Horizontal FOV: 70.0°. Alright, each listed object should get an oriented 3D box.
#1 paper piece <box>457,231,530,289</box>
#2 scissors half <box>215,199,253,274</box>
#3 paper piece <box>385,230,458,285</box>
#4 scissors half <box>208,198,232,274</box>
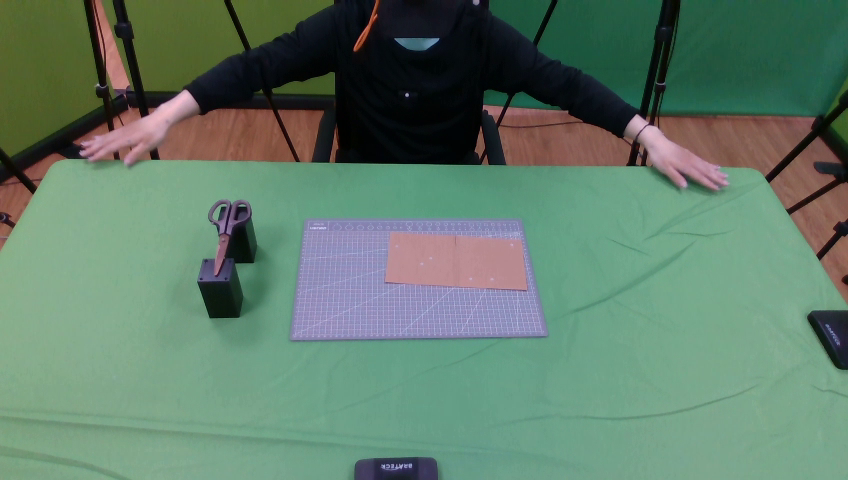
[{"bbox_3d":[0.132,0.038,1.171,0.138,0.009,0.135,4,50,-1],"label":"paper piece"},{"bbox_3d":[-0.332,-0.009,1.049,0.040,0.013,0.174,7,48,1],"label":"scissors half"},{"bbox_3d":[-0.002,0.031,1.169,0.136,0.004,0.134,3,48,1],"label":"paper piece"},{"bbox_3d":[-0.352,-0.009,1.046,0.040,0.013,0.174,-3,49,-15],"label":"scissors half"}]
